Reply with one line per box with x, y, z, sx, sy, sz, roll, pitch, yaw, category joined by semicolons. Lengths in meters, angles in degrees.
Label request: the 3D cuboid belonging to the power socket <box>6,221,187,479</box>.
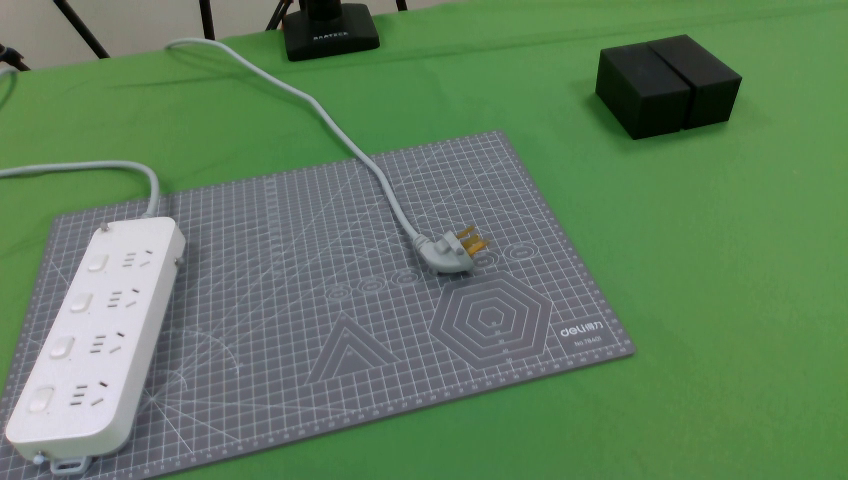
-0.237;0.065;0.459;0.072;0.033;0.224;-5;44;-1;power socket

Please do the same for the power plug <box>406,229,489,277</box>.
0.017;-0.001;0.498;0.052;0.035;0.072;-32;61;-4;power plug
